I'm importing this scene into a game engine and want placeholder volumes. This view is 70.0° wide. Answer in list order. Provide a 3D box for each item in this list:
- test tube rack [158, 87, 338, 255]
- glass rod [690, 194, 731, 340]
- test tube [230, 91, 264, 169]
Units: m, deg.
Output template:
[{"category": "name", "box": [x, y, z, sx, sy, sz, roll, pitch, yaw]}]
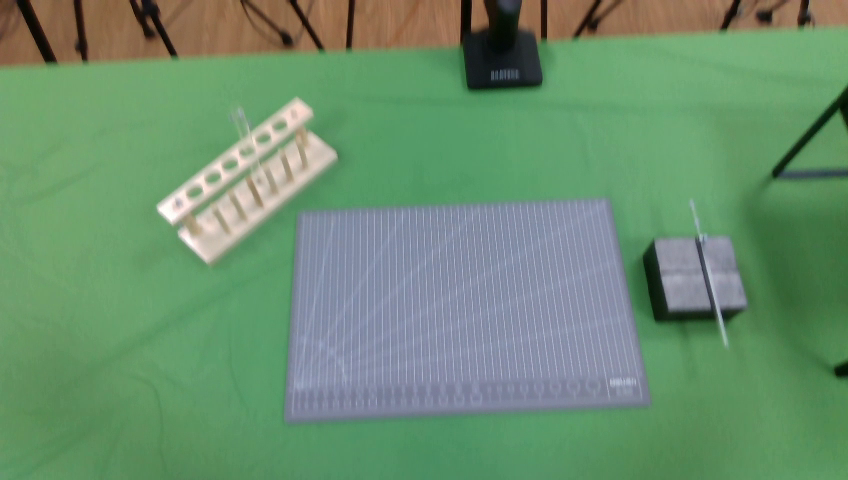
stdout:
[{"category": "test tube rack", "box": [-0.235, -0.097, 0.839, 0.066, 0.086, 0.242, 40, 71, 17]}, {"category": "glass rod", "box": [0.361, 0.029, 0.765, 0.008, 0.008, 0.198, -2, 65, 0]}, {"category": "test tube", "box": [-0.234, -0.142, 0.806, 0.017, 0.151, 0.017, 1, 61, -2]}]
